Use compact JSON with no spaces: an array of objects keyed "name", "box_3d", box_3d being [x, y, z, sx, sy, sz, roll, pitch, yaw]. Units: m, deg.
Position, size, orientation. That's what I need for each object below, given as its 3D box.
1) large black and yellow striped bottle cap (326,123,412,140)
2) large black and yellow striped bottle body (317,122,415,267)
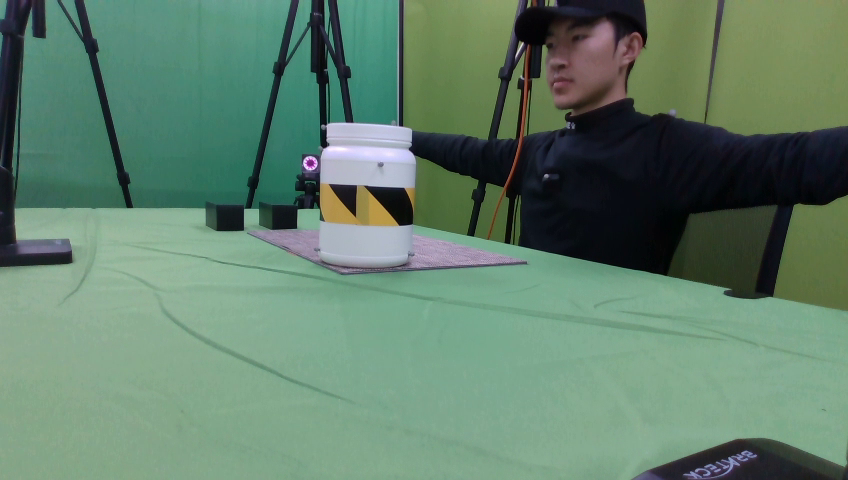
[{"name":"large black and yellow striped bottle cap","box_3d":[-0.074,-0.145,0.812,0.115,0.019,0.115,1,7,0]},{"name":"large black and yellow striped bottle body","box_3d":[-0.078,-0.063,0.824,0.131,0.184,0.130,2,7,0]}]
